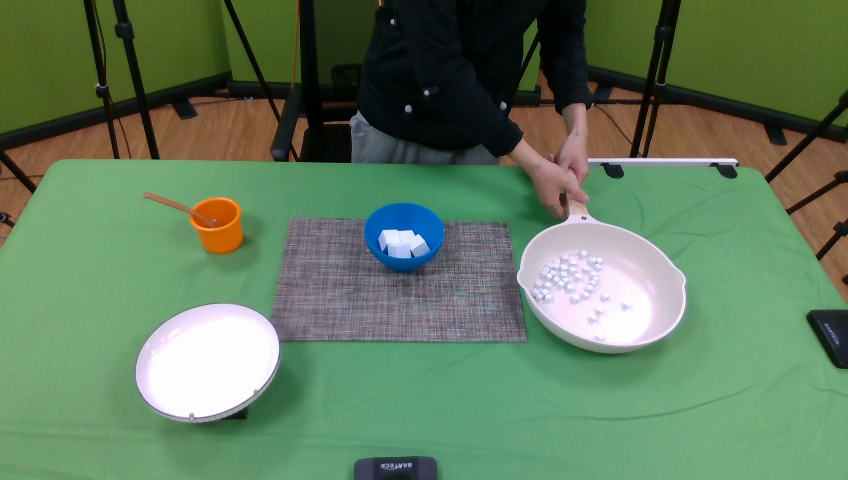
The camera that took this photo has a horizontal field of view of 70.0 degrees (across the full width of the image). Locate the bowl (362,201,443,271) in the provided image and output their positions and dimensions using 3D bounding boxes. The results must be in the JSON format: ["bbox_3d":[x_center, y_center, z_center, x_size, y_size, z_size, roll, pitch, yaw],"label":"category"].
[{"bbox_3d":[-0.041,0.006,1.145,0.151,0.077,0.150,2,46,-2],"label":"bowl"}]

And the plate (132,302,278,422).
[{"bbox_3d":[-0.325,0.186,0.916,0.208,0.039,0.206,3,44,-2],"label":"plate"}]

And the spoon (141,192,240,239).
[{"bbox_3d":[-0.428,-0.048,1.122,0.021,0.195,0.041,-38,45,21],"label":"spoon"}]

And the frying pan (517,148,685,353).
[{"bbox_3d":[0.310,0.002,1.163,0.307,0.103,0.484,0,55,-5],"label":"frying pan"}]
